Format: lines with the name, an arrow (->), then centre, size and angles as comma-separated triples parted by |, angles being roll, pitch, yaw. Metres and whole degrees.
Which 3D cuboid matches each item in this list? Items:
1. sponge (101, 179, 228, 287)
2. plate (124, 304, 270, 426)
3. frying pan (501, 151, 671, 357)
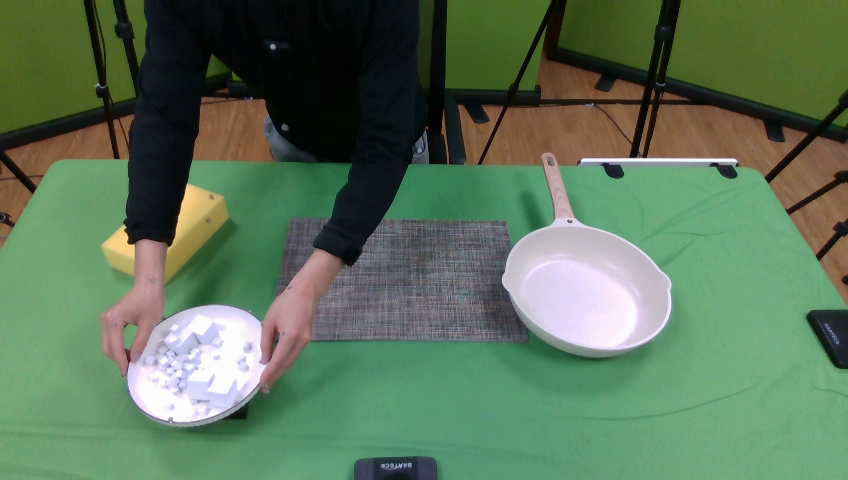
sponge -> -0.485, -0.018, 1.151 | 0.118, 0.061, 0.206 | 18, 47, 13
plate -> -0.336, 0.189, 0.913 | 0.208, 0.039, 0.206 | 1, 46, -1
frying pan -> 0.281, 0.008, 1.154 | 0.307, 0.103, 0.484 | 1, 54, -6
